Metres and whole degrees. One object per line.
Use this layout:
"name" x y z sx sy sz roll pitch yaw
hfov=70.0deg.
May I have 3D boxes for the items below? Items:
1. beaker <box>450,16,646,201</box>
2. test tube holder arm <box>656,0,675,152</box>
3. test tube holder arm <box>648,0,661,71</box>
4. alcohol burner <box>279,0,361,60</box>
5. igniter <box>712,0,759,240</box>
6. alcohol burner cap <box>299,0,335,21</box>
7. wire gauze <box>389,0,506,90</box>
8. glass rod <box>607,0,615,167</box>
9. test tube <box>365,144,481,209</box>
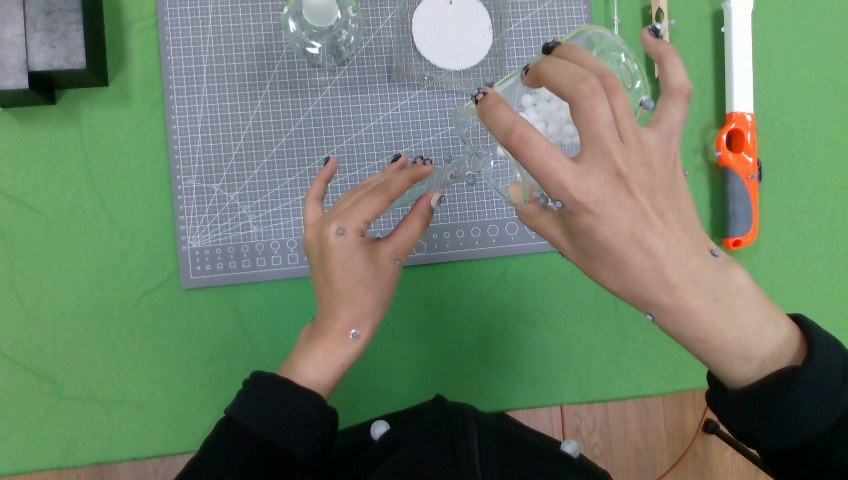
"beaker" 0.077 -0.082 0.375 0.100 0.083 0.074 -36 98 -6
"test tube holder arm" 0.261 -0.184 0.658 0.013 0.015 0.178 -6 87 29
"test tube holder arm" 0.253 -0.229 0.662 0.010 0.015 0.087 -5 88 29
"alcohol burner" -0.099 -0.215 0.567 0.078 0.119 0.078 0 87 -4
"igniter" 0.341 -0.137 0.663 0.057 0.025 0.276 2 87 -17
"alcohol burner cap" -0.095 -0.218 0.531 0.034 0.048 0.033 1 81 -7
"wire gauze" 0.027 -0.226 0.636 0.125 0.011 0.121 5 88 -7
"glass rod" 0.203 -0.179 0.657 0.008 0.008 0.199 0 90 -7
"test tube" -0.007 -0.046 0.468 0.017 0.150 0.017 7 77 -32
